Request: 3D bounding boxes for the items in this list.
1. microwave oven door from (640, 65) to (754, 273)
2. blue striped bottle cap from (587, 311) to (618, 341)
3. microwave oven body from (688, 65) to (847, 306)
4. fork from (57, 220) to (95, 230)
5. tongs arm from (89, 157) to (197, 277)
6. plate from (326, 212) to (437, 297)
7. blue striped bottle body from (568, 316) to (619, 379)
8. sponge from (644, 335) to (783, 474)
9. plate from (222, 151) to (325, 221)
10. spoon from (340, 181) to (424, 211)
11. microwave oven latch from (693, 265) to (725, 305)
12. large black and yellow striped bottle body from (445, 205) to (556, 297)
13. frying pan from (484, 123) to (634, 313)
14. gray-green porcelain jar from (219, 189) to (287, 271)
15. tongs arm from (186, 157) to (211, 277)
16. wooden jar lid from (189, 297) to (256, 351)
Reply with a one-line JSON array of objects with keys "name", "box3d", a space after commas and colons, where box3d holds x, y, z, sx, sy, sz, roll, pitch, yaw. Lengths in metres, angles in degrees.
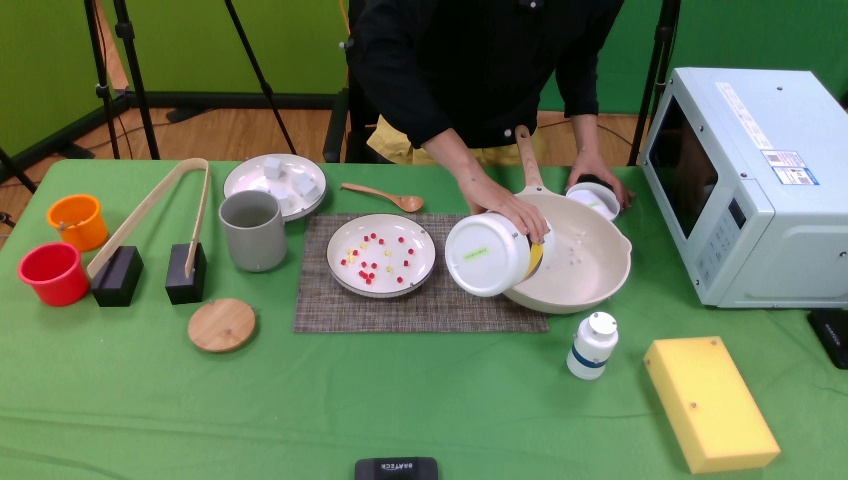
[{"name": "microwave oven door", "box3d": [0.523, -0.147, 1.193, 0.039, 0.245, 0.353, 0, 47, -3]}, {"name": "blue striped bottle cap", "box3d": [0.279, 0.134, 0.946, 0.044, 0.021, 0.044, 2, 45, -2]}, {"name": "microwave oven body", "box3d": [0.669, -0.111, 1.176, 0.326, 0.261, 0.439, 0, 46, -3]}, {"name": "fork", "box3d": [-0.624, -0.027, 1.087, 0.028, 0.207, 0.018, -3, 92, -17]}, {"name": "tongs arm", "box3d": [-0.530, -0.058, 1.163, 0.028, 0.028, 0.385, 1, 36, 7]}, {"name": "plate", "box3d": [-0.080, 0.030, 1.143, 0.209, 0.038, 0.208, 2, 46, -2]}, {"name": "blue striped bottle body", "box3d": [0.277, 0.169, 0.984, 0.063, 0.121, 0.062, 2, 46, -2]}, {"name": "sponge", "box3d": [0.448, 0.253, 0.956, 0.118, 0.061, 0.205, -3, 47, -7]}, {"name": "plate", "box3d": [-0.310, -0.106, 1.263, 0.208, 0.039, 0.206, 2, 47, -2]}, {"name": "spoon", "box3d": [-0.091, -0.100, 1.282, 0.193, 0.022, 0.041, 18, 64, 13]}, {"name": "microwave oven latch", "box3d": [0.523, 0.082, 1.116, 0.030, 0.029, 0.078, 2, 46, -1]}, {"name": "large black and yellow striped bottle body", "box3d": [0.135, 0.012, 1.008, 0.130, 0.131, 0.184, 34, 27, 26]}, {"name": "frying pan", "box3d": [0.235, -0.060, 1.207, 0.307, 0.103, 0.484, 2, 55, -6]}, {"name": "gray-green porcelain jar", "box3d": [-0.310, -0.014, 1.113, 0.106, 0.127, 0.105, 2, 46, -2]}, {"name": "tongs arm", "box3d": [-0.445, -0.058, 1.168, 0.051, 0.026, 0.382, -4, 37, -6]}, {"name": "wooden jar lid", "box3d": [-0.342, 0.145, 1.033, 0.108, 0.021, 0.107, 2, 45, -2]}]
